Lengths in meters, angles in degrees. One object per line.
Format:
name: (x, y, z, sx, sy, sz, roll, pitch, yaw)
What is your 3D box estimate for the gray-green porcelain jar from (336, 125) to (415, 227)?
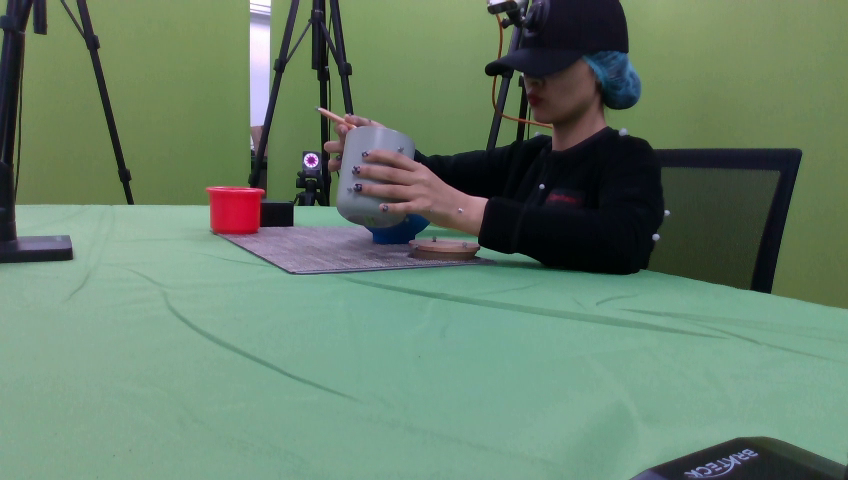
gray-green porcelain jar: (-0.071, -0.089, 0.885, 0.106, 0.126, 0.106, 6, -13, 2)

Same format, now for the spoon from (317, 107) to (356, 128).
spoon: (-0.101, -0.163, 0.927, 0.193, 0.021, 0.042, 40, 28, 29)

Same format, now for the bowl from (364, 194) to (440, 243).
bowl: (-0.050, -0.038, 1.033, 0.151, 0.077, 0.151, 3, 7, 0)

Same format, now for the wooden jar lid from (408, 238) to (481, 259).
wooden jar lid: (0.031, 0.012, 0.895, 0.108, 0.020, 0.108, 2, 8, 0)
